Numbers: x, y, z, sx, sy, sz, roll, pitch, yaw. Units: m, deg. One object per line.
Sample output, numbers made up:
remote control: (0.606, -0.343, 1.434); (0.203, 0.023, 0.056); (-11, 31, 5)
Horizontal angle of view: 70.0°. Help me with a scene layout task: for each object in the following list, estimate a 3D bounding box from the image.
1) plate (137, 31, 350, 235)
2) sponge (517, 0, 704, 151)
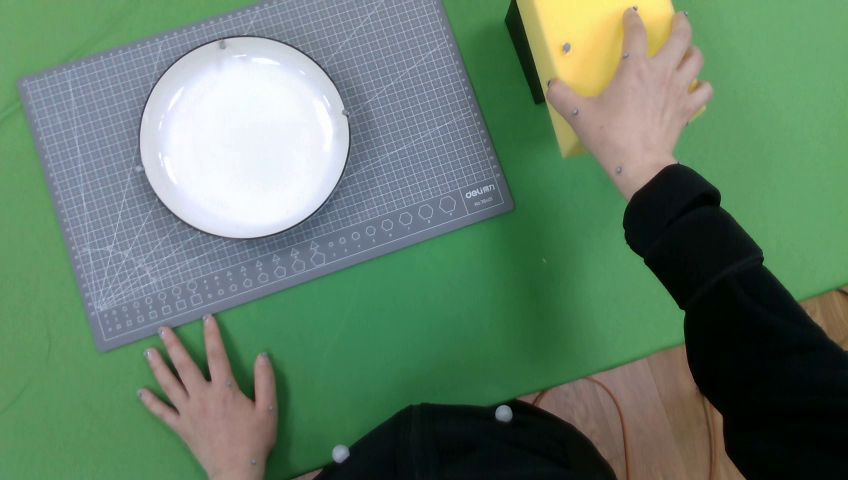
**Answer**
plate: (-0.179, -0.106, 0.618); (0.209, 0.038, 0.208); (0, 85, -3)
sponge: (0.162, -0.199, 0.562); (0.118, 0.061, 0.206); (-15, 83, 0)
